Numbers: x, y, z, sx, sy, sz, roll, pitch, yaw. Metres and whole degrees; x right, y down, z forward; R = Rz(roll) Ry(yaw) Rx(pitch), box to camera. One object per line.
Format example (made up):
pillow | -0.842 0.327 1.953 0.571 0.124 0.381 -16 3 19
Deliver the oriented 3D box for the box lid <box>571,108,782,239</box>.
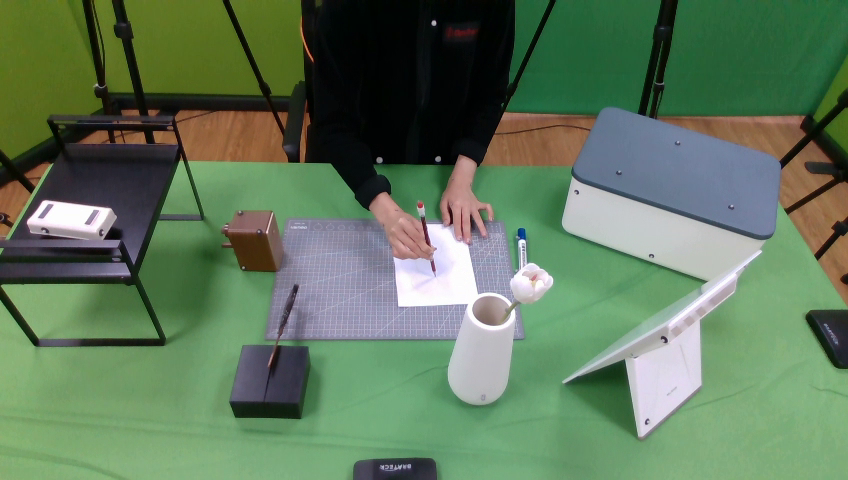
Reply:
box lid | 0.491 -0.139 1.168 0.370 0.015 0.262 21 49 15

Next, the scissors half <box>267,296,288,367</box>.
scissors half | -0.239 0.150 0.997 0.013 0.040 0.174 24 24 -13

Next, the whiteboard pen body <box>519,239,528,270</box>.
whiteboard pen body | 0.193 0.035 1.181 0.017 0.017 0.140 6 48 1

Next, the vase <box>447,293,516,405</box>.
vase | 0.091 0.169 0.921 0.098 0.201 0.097 3 47 -3

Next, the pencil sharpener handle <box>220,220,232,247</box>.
pencil sharpener handle | -0.362 -0.009 1.105 0.030 0.068 0.036 0 52 1

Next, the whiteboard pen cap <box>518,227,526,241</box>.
whiteboard pen cap | 0.197 -0.009 1.220 0.018 0.018 0.033 5 50 1

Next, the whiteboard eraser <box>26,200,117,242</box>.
whiteboard eraser | -0.532 -0.026 0.919 0.113 0.042 0.055 7 45 3

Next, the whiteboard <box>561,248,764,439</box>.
whiteboard | 0.386 0.176 0.905 0.217 0.306 0.143 -26 72 -26

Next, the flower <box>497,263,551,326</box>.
flower | 0.102 0.121 0.853 0.044 0.363 0.038 -2 64 -10

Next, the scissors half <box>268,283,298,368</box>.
scissors half | -0.230 0.135 0.986 0.013 0.040 0.174 19 43 -11

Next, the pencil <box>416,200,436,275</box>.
pencil | 0.006 0.002 1.073 0.012 0.195 0.012 -6 47 7

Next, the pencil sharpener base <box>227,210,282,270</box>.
pencil sharpener base | -0.311 0.001 1.112 0.077 0.107 0.061 0 47 1

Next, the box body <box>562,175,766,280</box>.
box body | 0.486 -0.088 1.222 0.363 0.161 0.253 20 48 15
